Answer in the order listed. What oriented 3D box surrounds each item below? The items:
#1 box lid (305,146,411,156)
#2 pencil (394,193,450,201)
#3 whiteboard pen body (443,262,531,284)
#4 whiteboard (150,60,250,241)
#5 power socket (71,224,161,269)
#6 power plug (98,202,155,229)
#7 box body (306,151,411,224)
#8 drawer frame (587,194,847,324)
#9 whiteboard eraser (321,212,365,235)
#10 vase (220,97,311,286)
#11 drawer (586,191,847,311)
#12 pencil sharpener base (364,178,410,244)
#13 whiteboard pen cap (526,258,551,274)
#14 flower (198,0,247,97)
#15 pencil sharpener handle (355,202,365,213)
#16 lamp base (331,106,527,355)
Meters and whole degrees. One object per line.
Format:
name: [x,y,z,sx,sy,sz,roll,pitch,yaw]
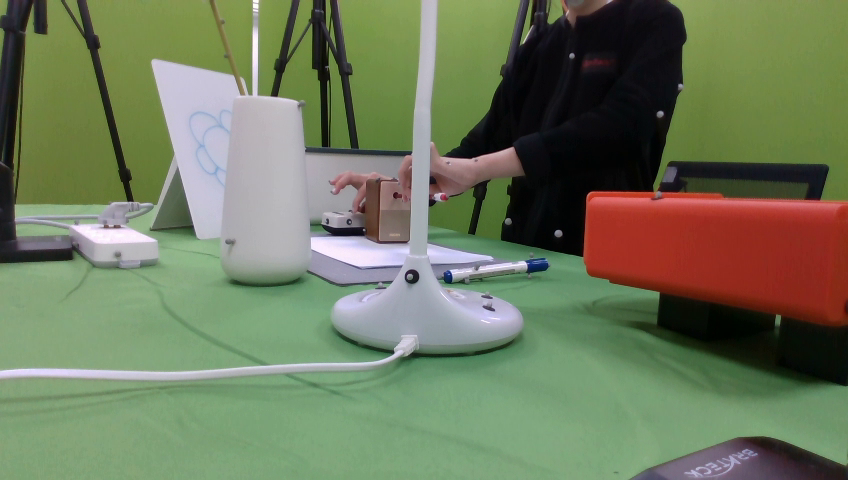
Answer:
box lid: [-0.229,-0.200,1.361,0.373,0.015,0.262,-3,9,-33]
pencil: [-0.012,-0.066,0.933,0.012,0.012,0.193,-2,4,-28]
whiteboard pen body: [0.087,0.038,0.734,0.141,0.017,0.017,-5,10,-27]
whiteboard: [-0.408,-0.139,1.093,0.143,0.305,0.218,-15,-1,26]
power socket: [-0.408,0.004,0.793,0.072,0.032,0.225,-2,8,-38]
power plug: [-0.416,-0.027,0.848,0.073,0.052,0.035,0,8,-28]
box body: [-0.230,-0.126,1.371,0.366,0.160,0.253,-2,8,-33]
drawer frame: [0.285,0.004,0.508,0.203,0.082,0.212,-1,6,-29]
whiteboard eraser: [-0.128,-0.031,1.108,0.113,0.042,0.055,-3,8,-38]
vase: [-0.172,-0.052,0.662,0.098,0.200,0.098,3,9,0]
drawer: [0.281,0.001,0.513,0.195,0.073,0.210,-1,8,-29]
pencil sharpener base: [-0.063,-0.051,1.031,0.061,0.107,0.076,-1,8,-25]
whiteboard pen cap: [0.141,0.033,0.759,0.033,0.018,0.018,-8,11,-26]
flower: [-0.187,-0.133,0.648,0.038,0.362,0.044,0,22,43]
pencil sharpener handle: [-0.093,-0.075,1.070,0.068,0.036,0.030,-45,23,-13]
lamp base: [0.006,-0.012,0.478,0.161,0.180,0.179,2,10,2]
